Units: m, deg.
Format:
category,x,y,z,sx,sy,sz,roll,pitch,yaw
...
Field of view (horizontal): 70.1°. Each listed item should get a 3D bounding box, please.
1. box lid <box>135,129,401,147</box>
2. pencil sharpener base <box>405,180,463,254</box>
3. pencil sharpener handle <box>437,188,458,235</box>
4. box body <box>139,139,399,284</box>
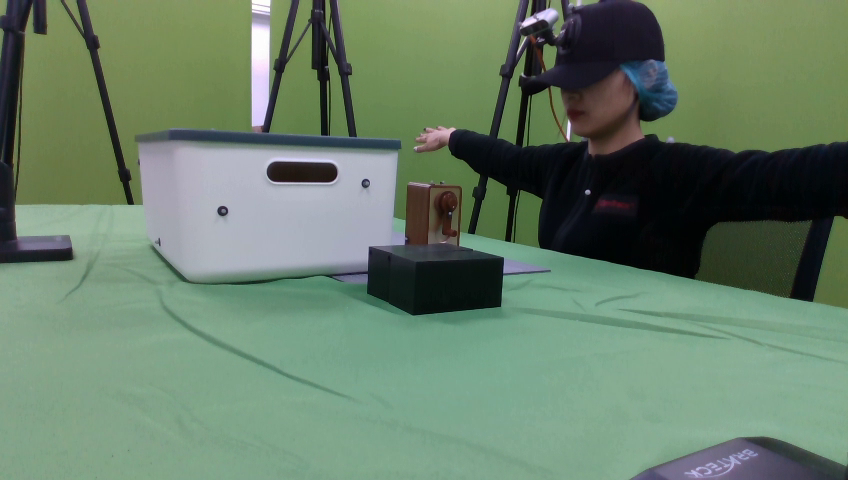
category,x,y,z,sx,sy,sz,roll,pitch,yaw
box lid,-0.220,-0.129,0.795,0.265,0.015,0.369,-4,9,-31
pencil sharpener base,0.016,-0.035,0.922,0.061,0.107,0.076,-2,9,-30
pencil sharpener handle,0.041,-0.041,0.877,0.036,0.067,0.030,1,7,-30
box body,-0.222,-0.056,0.807,0.255,0.160,0.362,-3,9,-31
